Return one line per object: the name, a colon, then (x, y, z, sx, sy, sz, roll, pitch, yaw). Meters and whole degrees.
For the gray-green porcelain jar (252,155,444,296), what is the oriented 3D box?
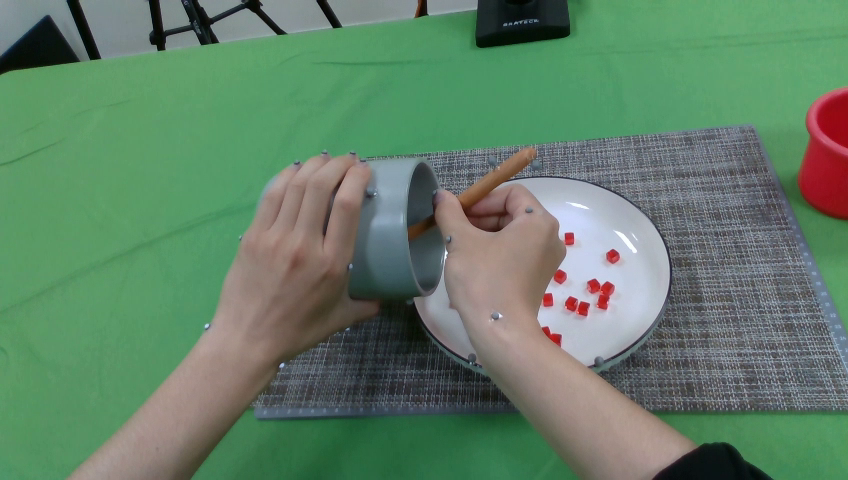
gray-green porcelain jar: (-0.058, -0.009, 0.468, 0.126, 0.107, 0.105, -2, 49, 16)

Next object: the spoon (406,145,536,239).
spoon: (0.003, -0.017, 0.446, 0.193, 0.022, 0.041, -30, 52, 29)

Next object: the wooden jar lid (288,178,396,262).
wooden jar lid: (-0.079, -0.019, 0.598, 0.108, 0.021, 0.107, -6, 47, 7)

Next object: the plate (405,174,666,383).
plate: (0.088, 0.029, 0.501, 0.207, 0.039, 0.205, -7, 48, 8)
